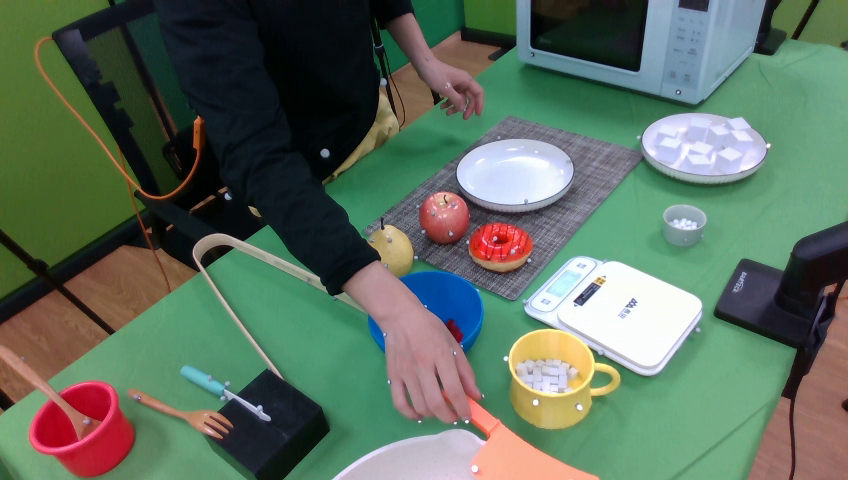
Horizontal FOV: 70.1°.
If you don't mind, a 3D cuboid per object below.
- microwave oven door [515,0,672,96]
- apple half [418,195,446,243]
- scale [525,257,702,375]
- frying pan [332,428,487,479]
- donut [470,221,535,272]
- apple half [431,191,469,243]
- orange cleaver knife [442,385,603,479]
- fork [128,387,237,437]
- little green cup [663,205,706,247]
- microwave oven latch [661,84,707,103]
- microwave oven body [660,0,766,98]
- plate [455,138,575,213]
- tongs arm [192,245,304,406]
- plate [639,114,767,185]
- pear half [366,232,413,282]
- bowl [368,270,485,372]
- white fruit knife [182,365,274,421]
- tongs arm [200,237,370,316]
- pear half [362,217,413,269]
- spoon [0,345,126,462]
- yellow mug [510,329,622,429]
[{"bbox_3d":[0.343,-0.455,1.259,0.353,0.245,0.039,26,51,33],"label":"microwave oven door"},{"bbox_3d":[0.009,-0.028,0.959,0.033,0.081,0.080,-14,41,-11],"label":"apple half"},{"bbox_3d":[0.254,0.091,0.821,0.199,0.032,0.149,28,51,35],"label":"scale"},{"bbox_3d":[-0.089,0.306,0.564,0.487,0.103,0.306,10,42,7],"label":"frying pan"},{"bbox_3d":[0.119,0.009,0.923,0.099,0.048,0.098,-3,39,3],"label":"donut"},{"bbox_3d":[0.045,-0.038,0.967,0.053,0.075,0.080,-14,37,-11],"label":"apple half"},{"bbox_3d":[0.086,0.219,0.612,0.209,0.012,0.077,28,49,35],"label":"orange cleaver knife"},{"bbox_3d":[-0.305,0.207,0.744,0.206,0.019,0.028,3,41,35],"label":"fork"},{"bbox_3d":[0.396,-0.020,0.926,0.061,0.039,0.061,-4,40,4],"label":"little green cup"},{"bbox_3d":[0.516,-0.296,1.204,0.078,0.029,0.030,25,50,33],"label":"microwave oven latch"},{"bbox_3d":[0.472,-0.513,1.317,0.438,0.261,0.327,26,51,34],"label":"microwave oven body"},{"bbox_3d":[0.159,-0.111,1.063,0.209,0.038,0.208,-4,40,4],"label":"plate"},{"bbox_3d":[-0.268,0.113,0.884,0.028,0.028,0.384,-37,47,-18],"label":"tongs arm"},{"bbox_3d":[0.489,-0.157,1.074,0.207,0.039,0.206,-4,40,4],"label":"plate"},{"bbox_3d":[-0.048,0.031,0.893,0.071,0.088,0.031,-16,40,-13],"label":"pear half"},{"bbox_3d":[0.007,0.119,0.791,0.151,0.077,0.150,-5,40,4],"label":"bowl"},{"bbox_3d":[-0.245,0.188,0.747,0.205,0.027,0.016,9,41,41],"label":"white fruit knife"},{"bbox_3d":[-0.209,0.064,0.924,0.381,0.027,0.051,23,54,32],"label":"tongs arm"},{"bbox_3d":[-0.058,0.002,0.913,0.076,0.110,0.055,-14,40,-13],"label":"pear half"},{"bbox_3d":[-0.434,0.192,0.720,0.194,0.021,0.042,47,52,-6],"label":"spoon"},{"bbox_3d":[0.168,0.164,0.721,0.130,0.064,0.099,0,40,8],"label":"yellow mug"}]
